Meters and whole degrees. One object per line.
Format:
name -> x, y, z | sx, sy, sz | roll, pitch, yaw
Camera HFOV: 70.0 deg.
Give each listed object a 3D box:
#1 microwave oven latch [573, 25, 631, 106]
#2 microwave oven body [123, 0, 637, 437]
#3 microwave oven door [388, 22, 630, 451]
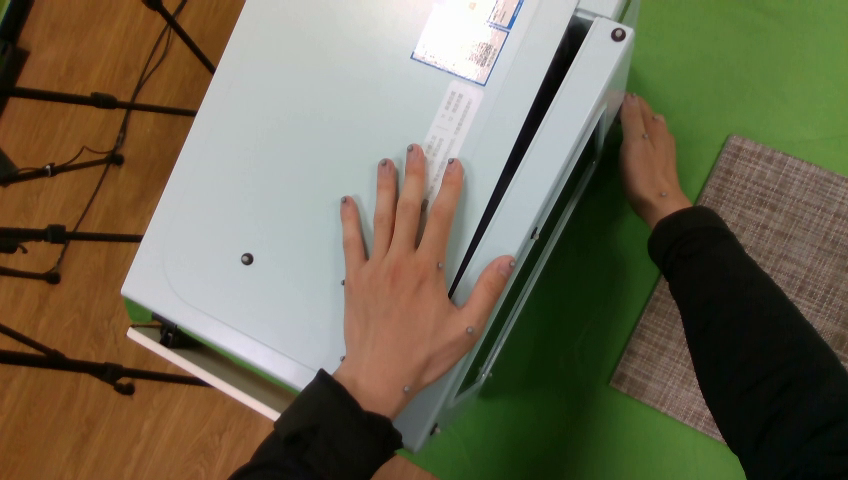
microwave oven latch -> 0.193, -0.188, 0.660 | 0.030, 0.029, 0.079 | 35, 95, 14
microwave oven body -> -0.030, -0.090, 0.608 | 0.324, 0.261, 0.441 | 24, 92, 15
microwave oven door -> 0.089, 0.010, 0.564 | 0.039, 0.245, 0.356 | 27, 92, 16
